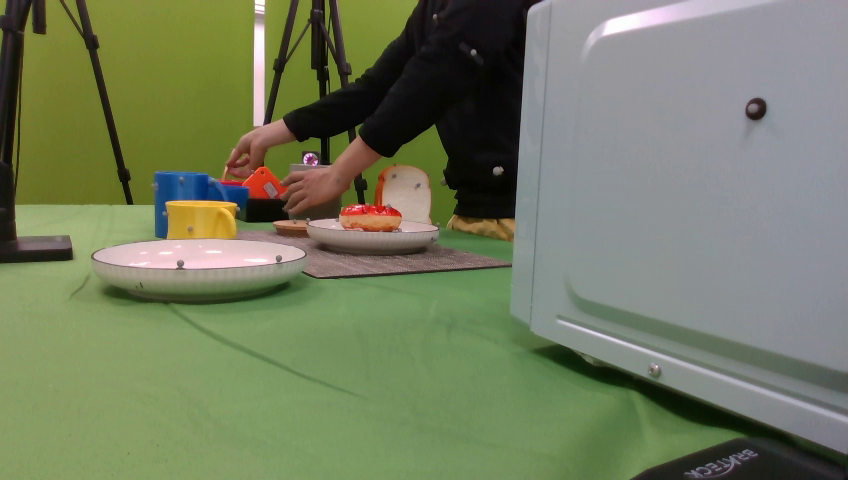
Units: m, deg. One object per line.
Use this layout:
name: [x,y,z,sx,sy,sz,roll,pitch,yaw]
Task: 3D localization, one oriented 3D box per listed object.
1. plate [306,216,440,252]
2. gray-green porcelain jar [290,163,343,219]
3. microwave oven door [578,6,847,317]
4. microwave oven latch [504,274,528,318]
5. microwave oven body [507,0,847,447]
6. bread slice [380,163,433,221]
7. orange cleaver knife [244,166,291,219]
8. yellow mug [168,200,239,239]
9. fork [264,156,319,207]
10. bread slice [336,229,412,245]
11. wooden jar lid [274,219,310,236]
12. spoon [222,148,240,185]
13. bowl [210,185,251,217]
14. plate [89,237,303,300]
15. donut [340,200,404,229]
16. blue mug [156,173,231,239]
plate: [-0.079,-0.011,0.950,0.209,0.038,0.209,2,8,0]
gray-green porcelain jar: [-0.217,-0.091,1.221,0.106,0.126,0.106,2,8,0]
microwave oven door: [0.294,-0.067,0.570,0.358,0.243,0.039,-3,9,-31]
microwave oven latch: [0.100,0.041,0.471,0.079,0.029,0.030,-2,8,-29]
microwave oven body: [0.331,-0.042,0.425,0.444,0.260,0.324,-2,8,-31]
bread slice: [-0.035,-0.076,1.125,0.107,0.134,0.018,-3,2,-25]
orange cleaver knife: [-0.300,-0.089,1.351,0.212,0.077,0.012,32,-12,-34]
yellow mug: [-0.320,-0.023,0.904,0.130,0.064,0.100,9,11,36]
fork: [-0.331,-0.144,1.506,0.207,0.018,0.028,-42,-19,22]
bread slice: [-0.074,-0.005,0.938,0.105,0.019,0.131,-2,4,-19]
wooden jar lid: [-0.213,-0.023,1.081,0.108,0.020,0.108,3,7,0]
spoon: [-0.484,-0.157,1.490,0.041,0.193,0.022,-4,-34,15]
bowl: [-0.408,-0.064,1.155,0.151,0.077,0.151,2,8,0]
plate: [-0.233,0.029,0.637,0.208,0.039,0.207,2,7,0]
donut: [-0.081,-0.038,0.945,0.099,0.048,0.099,1,5,0]
blue mug: [-0.381,-0.057,1.004,0.117,0.106,0.082,0,8,-12]
